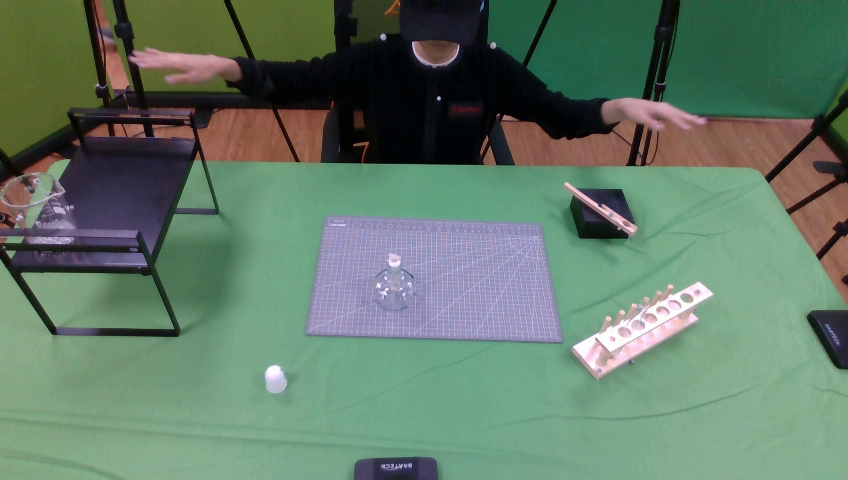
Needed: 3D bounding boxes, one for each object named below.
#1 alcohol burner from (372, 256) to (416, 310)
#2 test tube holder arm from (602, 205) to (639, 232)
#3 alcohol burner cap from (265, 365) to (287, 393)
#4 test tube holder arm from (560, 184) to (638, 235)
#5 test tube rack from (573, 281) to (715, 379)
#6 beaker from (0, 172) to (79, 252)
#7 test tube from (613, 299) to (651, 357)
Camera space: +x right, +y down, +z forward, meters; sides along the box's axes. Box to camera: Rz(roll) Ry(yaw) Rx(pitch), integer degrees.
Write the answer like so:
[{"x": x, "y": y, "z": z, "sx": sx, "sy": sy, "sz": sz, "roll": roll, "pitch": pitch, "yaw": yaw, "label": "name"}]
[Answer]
[{"x": -0.052, "y": 0.068, "z": 1.057, "sx": 0.078, "sy": 0.120, "sz": 0.077, "roll": 1, "pitch": 48, "yaw": -1, "label": "alcohol burner"}, {"x": 0.384, "y": -0.041, "z": 1.196, "sx": 0.010, "sy": 0.015, "sz": 0.087, "roll": -30, "pitch": 56, "yaw": -32, "label": "test tube holder arm"}, {"x": -0.236, "y": 0.216, "z": 0.955, "sx": 0.034, "sy": 0.048, "sz": 0.033, "roll": 3, "pitch": 45, "yaw": -3, "label": "alcohol burner cap"}, {"x": 0.349, "y": -0.063, "z": 1.213, "sx": 0.177, "sy": 0.015, "sz": 0.013, "roll": 36, "pitch": 52, "yaw": 26, "label": "test tube holder arm"}, {"x": 0.378, "y": 0.140, "z": 1.038, "sx": 0.242, "sy": 0.085, "sz": 0.066, "roll": -22, "pitch": 51, "yaw": -23, "label": "test tube rack"}, {"x": -0.557, "y": -0.038, "z": 0.889, "sx": 0.084, "sy": 0.101, "sz": 0.073, "roll": -3, "pitch": 47, "yaw": -8, "label": "beaker"}, {"x": 0.328, "y": 0.143, "z": 0.962, "sx": 0.017, "sy": 0.151, "sz": 0.017, "roll": 3, "pitch": 48, "yaw": -3, "label": "test tube"}]
